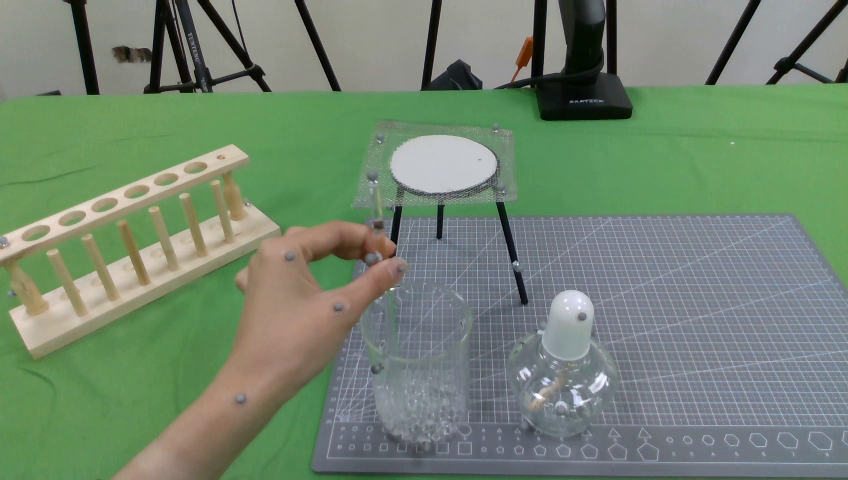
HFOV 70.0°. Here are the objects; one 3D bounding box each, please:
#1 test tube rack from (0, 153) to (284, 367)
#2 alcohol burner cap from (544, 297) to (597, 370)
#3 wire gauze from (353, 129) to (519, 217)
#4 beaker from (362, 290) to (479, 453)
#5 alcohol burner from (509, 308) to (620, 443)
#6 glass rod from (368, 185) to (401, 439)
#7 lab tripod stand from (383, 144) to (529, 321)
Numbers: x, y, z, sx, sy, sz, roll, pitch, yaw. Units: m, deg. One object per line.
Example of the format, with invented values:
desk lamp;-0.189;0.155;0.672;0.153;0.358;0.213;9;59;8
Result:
test tube rack;-0.261;0.010;0.569;0.242;0.086;0.066;-30;45;-30
alcohol burner cap;0.098;0.058;0.398;0.034;0.048;0.033;0;40;0
wire gauze;0.013;-0.056;0.482;0.121;0.011;0.124;2;39;5
beaker;-0.003;0.094;0.429;0.074;0.101;0.083;-32;46;-31
alcohol burner;0.099;0.087;0.420;0.078;0.120;0.077;-2;40;2
glass rod;-0.024;0.057;0.394;0.008;0.201;0.008;-2;30;2
lab tripod stand;0.025;-0.005;0.526;0.148;0.132;0.147;-1;37;1
